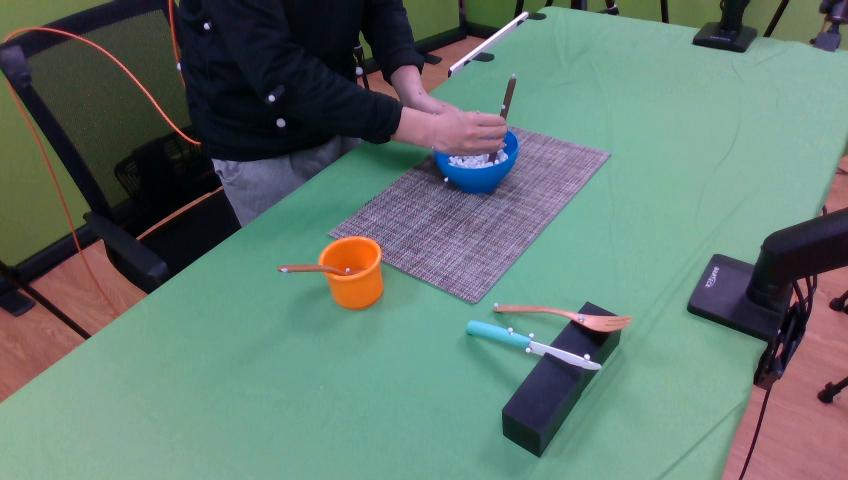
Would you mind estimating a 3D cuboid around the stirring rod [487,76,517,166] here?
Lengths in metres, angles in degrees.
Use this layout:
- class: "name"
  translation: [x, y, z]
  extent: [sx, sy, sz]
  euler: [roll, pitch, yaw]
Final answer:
- class: "stirring rod"
  translation: [0.129, -0.191, 1.019]
  extent: [0.014, 0.176, 0.005]
  euler: [-19, 46, -35]

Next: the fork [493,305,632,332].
- class: "fork"
  translation: [0.171, 0.097, 0.783]
  extent: [0.205, 0.019, 0.028]
  euler: [4, 41, 43]

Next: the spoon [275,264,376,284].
- class: "spoon"
  translation: [-0.133, 0.044, 0.839]
  extent: [0.041, 0.195, 0.021]
  euler: [24, 95, 33]

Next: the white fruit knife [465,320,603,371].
- class: "white fruit knife"
  translation: [0.128, 0.129, 0.749]
  extent: [0.205, 0.027, 0.016]
  euler: [10, 44, 43]

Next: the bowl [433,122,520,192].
- class: "bowl"
  translation: [0.093, -0.137, 1.064]
  extent: [0.151, 0.077, 0.150]
  euler: [-4, 40, 4]
